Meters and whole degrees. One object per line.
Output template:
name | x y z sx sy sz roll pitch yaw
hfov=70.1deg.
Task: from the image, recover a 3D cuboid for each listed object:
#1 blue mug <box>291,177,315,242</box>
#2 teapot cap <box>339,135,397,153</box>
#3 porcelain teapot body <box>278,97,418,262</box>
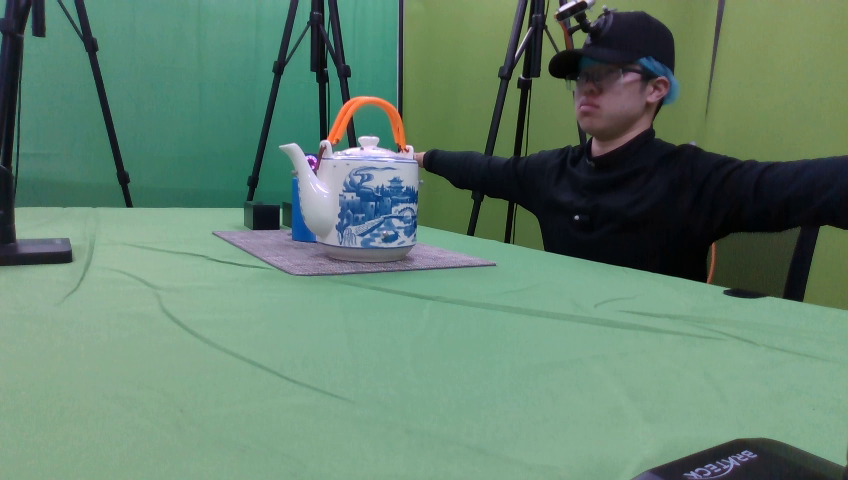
blue mug | -0.170 -0.054 1.038 0.117 0.106 0.082 -2 9 -31
teapot cap | -0.080 -0.126 0.853 0.085 0.044 0.085 -1 5 0
porcelain teapot body | -0.104 -0.086 0.842 0.206 0.225 0.144 -4 10 -38
